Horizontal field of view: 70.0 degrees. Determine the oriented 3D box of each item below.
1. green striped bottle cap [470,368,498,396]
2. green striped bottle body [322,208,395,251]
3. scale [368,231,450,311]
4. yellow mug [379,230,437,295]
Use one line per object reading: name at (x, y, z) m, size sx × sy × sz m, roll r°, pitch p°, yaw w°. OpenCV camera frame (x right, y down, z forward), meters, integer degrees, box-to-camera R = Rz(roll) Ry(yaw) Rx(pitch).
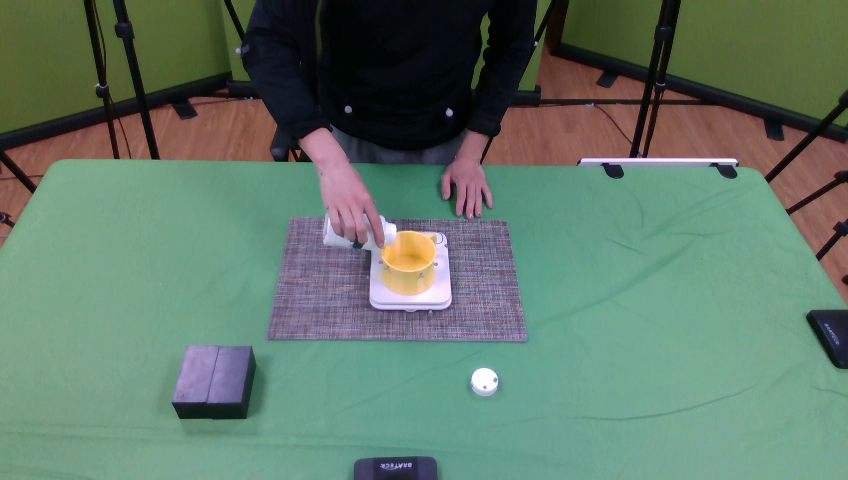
green striped bottle cap at (0.098, 0.231, 0.989) m, size 0.044 × 0.020 × 0.044 m, roll 2°, pitch 43°, yaw -2°
green striped bottle body at (-0.112, -0.016, 1.036) m, size 0.119 × 0.063 × 0.063 m, roll 7°, pitch 45°, yaw -16°
scale at (-0.029, 0.048, 1.137) m, size 0.149 × 0.032 × 0.199 m, roll 1°, pitch 46°, yaw -4°
yellow mug at (-0.020, 0.030, 1.089) m, size 0.099 × 0.064 × 0.130 m, roll 31°, pitch 51°, yaw 24°
